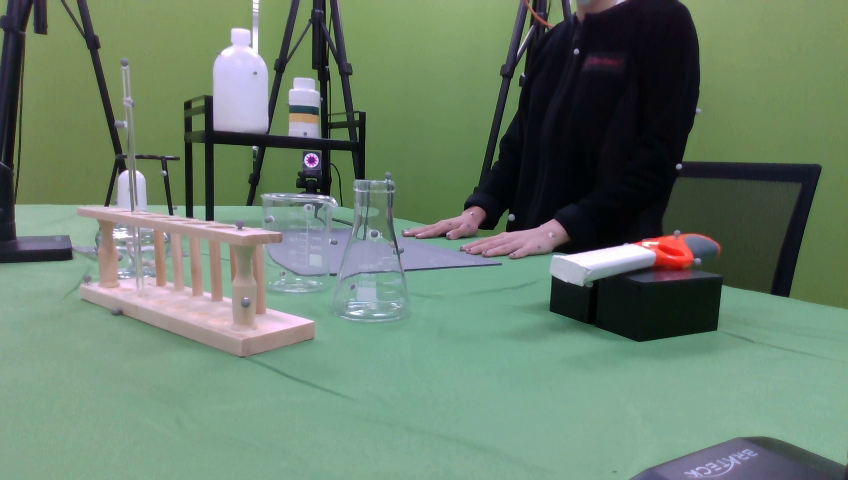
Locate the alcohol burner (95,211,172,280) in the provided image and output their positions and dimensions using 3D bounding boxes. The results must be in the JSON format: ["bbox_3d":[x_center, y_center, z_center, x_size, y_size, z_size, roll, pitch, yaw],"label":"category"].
[{"bbox_3d":[-0.320,-0.016,0.667,0.078,0.119,0.078,0,7,0],"label":"alcohol burner"}]

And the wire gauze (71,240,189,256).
[{"bbox_3d":[-0.399,0.013,0.820,0.126,0.011,0.121,-3,8,-37],"label":"wire gauze"}]

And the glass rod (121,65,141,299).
[{"bbox_3d":[-0.249,-0.047,0.513,0.008,0.199,0.008,-1,4,0],"label":"glass rod"}]

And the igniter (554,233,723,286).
[{"bbox_3d":[0.214,0.015,0.570,0.278,0.025,0.057,-5,22,-44],"label":"igniter"}]

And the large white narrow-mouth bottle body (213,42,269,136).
[{"bbox_3d":[-0.352,-0.301,1.166,0.102,0.194,0.102,1,8,0],"label":"large white narrow-mouth bottle body"}]

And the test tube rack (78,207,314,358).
[{"bbox_3d":[-0.196,0.024,0.500,0.241,0.085,0.067,8,8,37],"label":"test tube rack"}]

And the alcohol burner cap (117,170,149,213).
[{"bbox_3d":[-0.320,-0.052,0.661,0.034,0.048,0.034,-3,-1,0],"label":"alcohol burner cap"}]

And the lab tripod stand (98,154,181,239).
[{"bbox_3d":[-0.427,-0.066,0.942,0.148,0.131,0.148,1,6,0],"label":"lab tripod stand"}]

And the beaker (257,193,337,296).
[{"bbox_3d":[-0.130,0.004,0.628,0.084,0.100,0.074,5,8,15],"label":"beaker"}]

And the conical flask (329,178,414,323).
[{"bbox_3d":[-0.045,0.007,0.534,0.075,0.122,0.075,2,7,0],"label":"conical flask"}]

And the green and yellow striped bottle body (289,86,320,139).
[{"bbox_3d":[-0.250,-0.272,1.261,0.063,0.119,0.063,3,7,0],"label":"green and yellow striped bottle body"}]

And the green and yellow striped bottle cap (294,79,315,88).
[{"bbox_3d":[-0.248,-0.323,1.256,0.045,0.020,0.045,3,9,0],"label":"green and yellow striped bottle cap"}]

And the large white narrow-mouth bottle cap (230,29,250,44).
[{"bbox_3d":[-0.351,-0.386,1.153,0.038,0.024,0.037,1,8,0],"label":"large white narrow-mouth bottle cap"}]
